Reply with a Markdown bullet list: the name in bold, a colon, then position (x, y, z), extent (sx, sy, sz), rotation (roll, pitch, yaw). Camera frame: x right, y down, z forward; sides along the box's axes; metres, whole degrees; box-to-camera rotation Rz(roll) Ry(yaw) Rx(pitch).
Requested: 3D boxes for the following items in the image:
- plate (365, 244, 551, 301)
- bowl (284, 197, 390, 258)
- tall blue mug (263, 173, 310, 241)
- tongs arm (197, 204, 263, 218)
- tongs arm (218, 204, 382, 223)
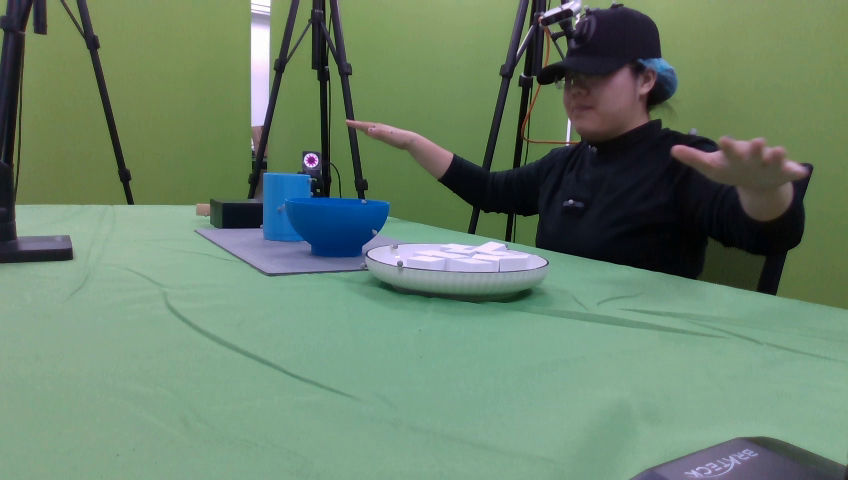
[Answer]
- **plate**: position (0.038, 0.035, 0.685), extent (0.209, 0.038, 0.209), rotation (2, 7, 0)
- **bowl**: position (-0.125, -0.019, 0.870), extent (0.151, 0.077, 0.151), rotation (2, 7, 0)
- **tall blue mug**: position (-0.233, -0.058, 1.019), extent (0.078, 0.108, 0.107), rotation (-1, 8, -19)
- **tongs arm**: position (-0.282, -0.057, 1.301), extent (0.386, 0.026, 0.050), rotation (2, 1, -7)
- **tongs arm**: position (-0.285, -0.061, 1.382), extent (0.387, 0.027, 0.028), rotation (3, -2, 6)
